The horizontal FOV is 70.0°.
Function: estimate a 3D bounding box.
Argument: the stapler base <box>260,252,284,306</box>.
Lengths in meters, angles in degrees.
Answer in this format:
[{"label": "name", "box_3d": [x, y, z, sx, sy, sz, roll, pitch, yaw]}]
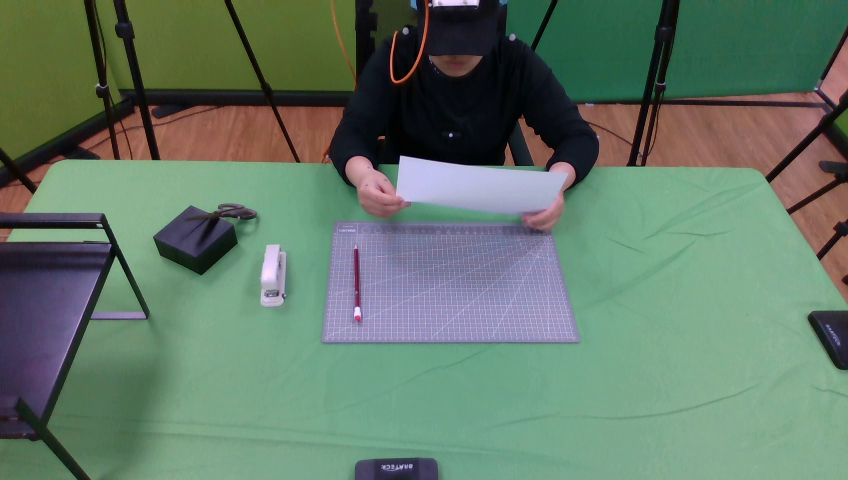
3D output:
[{"label": "stapler base", "box_3d": [-0.279, 0.064, 1.113, 0.041, 0.024, 0.129, -1, 44, -9]}]

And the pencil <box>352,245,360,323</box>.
[{"label": "pencil", "box_3d": [-0.127, 0.076, 1.120, 0.012, 0.012, 0.192, -2, 44, -7]}]

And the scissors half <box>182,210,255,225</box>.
[{"label": "scissors half", "box_3d": [-0.389, -0.042, 1.158, 0.040, 0.013, 0.175, 40, 21, 22]}]

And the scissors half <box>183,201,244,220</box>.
[{"label": "scissors half", "box_3d": [-0.405, -0.054, 1.163, 0.040, 0.013, 0.175, 29, 18, 7]}]

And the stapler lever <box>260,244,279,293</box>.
[{"label": "stapler lever", "box_3d": [-0.279, 0.045, 1.096, 0.027, 0.040, 0.117, -2, 44, -9]}]
